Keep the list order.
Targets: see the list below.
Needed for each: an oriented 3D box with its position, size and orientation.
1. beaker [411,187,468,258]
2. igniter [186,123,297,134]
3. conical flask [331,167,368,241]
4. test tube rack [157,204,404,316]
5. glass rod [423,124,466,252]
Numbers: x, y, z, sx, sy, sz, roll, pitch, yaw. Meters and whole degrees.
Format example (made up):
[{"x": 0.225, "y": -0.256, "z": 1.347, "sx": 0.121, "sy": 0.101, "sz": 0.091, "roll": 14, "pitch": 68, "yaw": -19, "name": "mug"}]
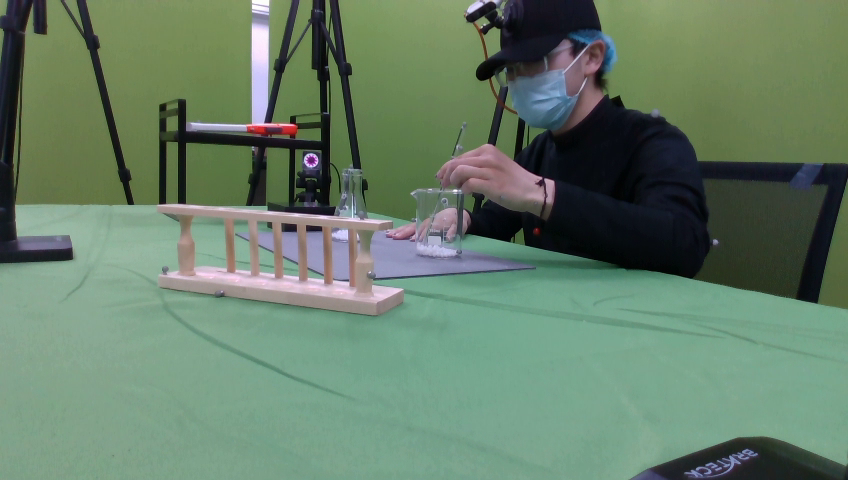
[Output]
[{"x": 0.021, "y": -0.027, "z": 0.892, "sx": 0.084, "sy": 0.100, "sz": 0.074, "roll": 1, "pitch": 7, "yaw": -1, "name": "beaker"}, {"x": -0.392, "y": -0.247, "z": 1.340, "sx": 0.057, "sy": 0.025, "sz": 0.278, "roll": 9, "pitch": 14, "yaw": 38, "name": "igniter"}, {"x": -0.123, "y": -0.061, "z": 1.018, "sx": 0.075, "sy": 0.122, "sz": 0.075, "roll": 2, "pitch": 7, "yaw": 0, "name": "conical flask"}, {"x": -0.143, "y": 0.013, "z": 0.598, "sx": 0.242, "sy": 0.085, "sz": 0.067, "roll": 5, "pitch": 8, "yaw": 19, "name": "test tube rack"}, {"x": 0.030, "y": -0.072, "z": 0.881, "sx": 0.008, "sy": 0.199, "sz": 0.008, "roll": 16, "pitch": 18, "yaw": -5, "name": "glass rod"}]
